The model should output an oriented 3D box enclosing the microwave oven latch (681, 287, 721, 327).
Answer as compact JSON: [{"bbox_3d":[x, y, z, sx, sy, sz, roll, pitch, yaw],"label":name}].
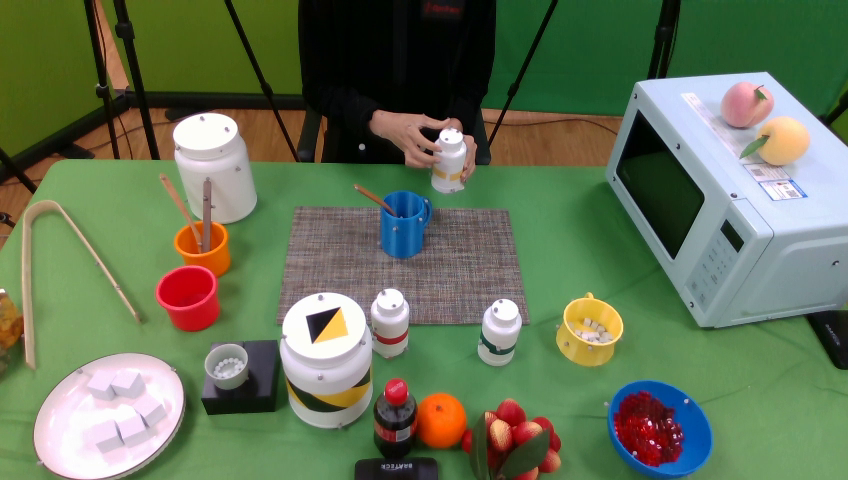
[{"bbox_3d":[0.494,0.119,1.087,0.030,0.029,0.078,-6,46,-9],"label":"microwave oven latch"}]

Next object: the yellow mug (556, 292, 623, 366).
[{"bbox_3d":[0.285,0.145,1.051,0.100,0.064,0.130,7,45,3],"label":"yellow mug"}]

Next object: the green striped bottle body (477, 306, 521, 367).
[{"bbox_3d":[0.124,0.151,0.995,0.063,0.120,0.063,2,46,-1],"label":"green striped bottle body"}]

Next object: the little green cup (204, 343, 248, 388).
[{"bbox_3d":[-0.294,0.190,0.909,0.061,0.039,0.061,1,48,-1],"label":"little green cup"}]

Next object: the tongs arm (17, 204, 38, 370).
[{"bbox_3d":[-0.698,0.069,1.068,0.028,0.028,0.385,-20,50,-13],"label":"tongs arm"}]

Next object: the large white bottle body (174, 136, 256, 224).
[{"bbox_3d":[-0.408,-0.137,1.183,0.131,0.185,0.130,2,46,-2],"label":"large white bottle body"}]

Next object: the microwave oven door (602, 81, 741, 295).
[{"bbox_3d":[0.456,-0.107,1.162,0.039,0.245,0.353,-6,47,-11],"label":"microwave oven door"}]

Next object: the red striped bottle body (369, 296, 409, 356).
[{"bbox_3d":[-0.058,0.134,0.997,0.063,0.120,0.062,4,47,-4],"label":"red striped bottle body"}]

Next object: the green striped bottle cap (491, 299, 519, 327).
[{"bbox_3d":[0.128,0.115,0.958,0.044,0.020,0.044,1,46,-1],"label":"green striped bottle cap"}]

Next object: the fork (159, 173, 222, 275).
[{"bbox_3d":[-0.427,-0.029,1.103,0.028,0.018,0.207,-31,99,-30],"label":"fork"}]

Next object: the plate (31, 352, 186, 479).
[{"bbox_3d":[-0.459,0.262,0.898,0.209,0.038,0.208,2,46,-2],"label":"plate"}]

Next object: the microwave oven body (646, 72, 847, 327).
[{"bbox_3d":[0.607,-0.089,1.164,0.326,0.261,0.438,-7,46,-10],"label":"microwave oven body"}]

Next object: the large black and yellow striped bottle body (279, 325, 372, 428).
[{"bbox_3d":[-0.143,0.181,0.900,0.131,0.185,0.130,2,46,-2],"label":"large black and yellow striped bottle body"}]

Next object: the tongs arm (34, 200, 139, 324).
[{"bbox_3d":[-0.622,0.034,1.105,0.051,0.026,0.382,-32,55,-26],"label":"tongs arm"}]

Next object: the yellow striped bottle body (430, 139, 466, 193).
[{"bbox_3d":[0.045,-0.151,1.153,0.063,0.121,0.062,2,50,-2],"label":"yellow striped bottle body"}]

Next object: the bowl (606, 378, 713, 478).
[{"bbox_3d":[0.340,0.292,0.906,0.151,0.077,0.150,2,46,-2],"label":"bowl"}]

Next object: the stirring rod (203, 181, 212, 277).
[{"bbox_3d":[-0.396,-0.021,1.108,0.014,0.006,0.176,-1,89,-1],"label":"stirring rod"}]

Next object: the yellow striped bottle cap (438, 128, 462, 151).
[{"bbox_3d":[0.048,-0.186,1.113,0.044,0.019,0.044,2,52,-3],"label":"yellow striped bottle cap"}]

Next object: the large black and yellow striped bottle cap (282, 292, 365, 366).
[{"bbox_3d":[-0.138,0.121,0.841,0.115,0.019,0.114,3,47,-3],"label":"large black and yellow striped bottle cap"}]

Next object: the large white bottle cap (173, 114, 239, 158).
[{"bbox_3d":[-0.403,-0.195,1.122,0.115,0.018,0.114,2,47,-2],"label":"large white bottle cap"}]

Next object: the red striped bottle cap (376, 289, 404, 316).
[{"bbox_3d":[-0.055,0.098,0.958,0.044,0.018,0.044,0,48,0],"label":"red striped bottle cap"}]

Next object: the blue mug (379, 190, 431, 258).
[{"bbox_3d":[-0.032,-0.037,1.169,0.116,0.106,0.082,-29,55,-28],"label":"blue mug"}]

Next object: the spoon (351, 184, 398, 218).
[{"bbox_3d":[-0.070,-0.056,1.124,0.021,0.195,0.041,-34,47,13],"label":"spoon"}]
